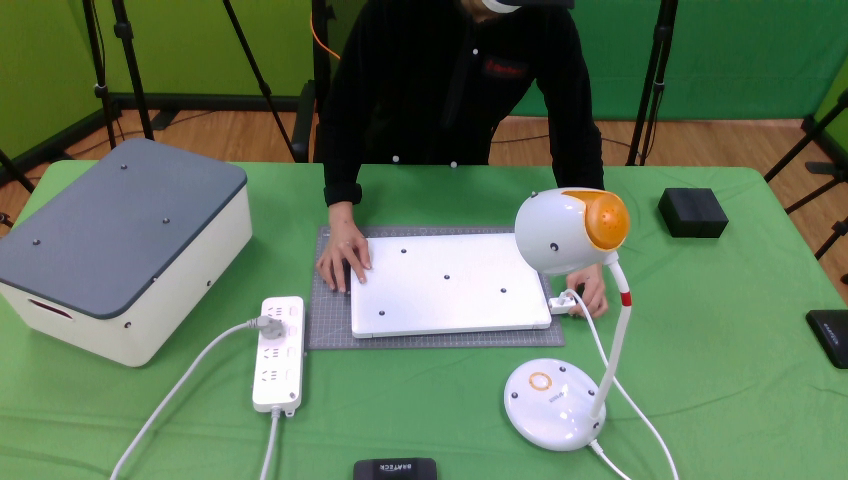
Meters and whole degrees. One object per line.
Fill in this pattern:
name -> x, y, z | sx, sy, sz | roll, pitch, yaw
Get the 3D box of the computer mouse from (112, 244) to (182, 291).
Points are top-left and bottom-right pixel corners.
computer mouse -> -0.493, 0.046, 1.078 | 0.117, 0.041, 0.062 | 24, 41, 13

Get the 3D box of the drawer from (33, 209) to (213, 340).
drawer -> -0.509, 0.054, 1.046 | 0.194, 0.073, 0.211 | 15, 43, 11

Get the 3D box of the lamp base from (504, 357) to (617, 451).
lamp base -> 0.220, 0.211, 0.903 | 0.160, 0.181, 0.178 | -33, 59, -30

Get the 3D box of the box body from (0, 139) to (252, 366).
box body -> -0.496, 0.013, 1.048 | 0.254, 0.161, 0.362 | 17, 47, 12

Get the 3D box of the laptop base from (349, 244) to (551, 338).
laptop base -> 0.040, 0.081, 1.126 | 0.355, 0.023, 0.234 | -2, 43, -6

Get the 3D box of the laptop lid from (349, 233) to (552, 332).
laptop lid -> 0.040, 0.071, 1.119 | 0.357, 0.013, 0.240 | -1, 44, -5

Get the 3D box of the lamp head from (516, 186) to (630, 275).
lamp head -> 0.188, -0.013, 0.728 | 0.112, 0.112, 0.122 | -25, 9, -25

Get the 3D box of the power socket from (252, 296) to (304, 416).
power socket -> -0.238, 0.182, 0.997 | 0.072, 0.033, 0.225 | -3, 47, -5

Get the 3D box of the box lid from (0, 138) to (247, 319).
box lid -> -0.494, -0.037, 0.994 | 0.263, 0.015, 0.370 | 17, 46, 12

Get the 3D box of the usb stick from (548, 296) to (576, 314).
usb stick -> 0.241, 0.118, 1.087 | 0.059, 0.027, 0.021 | -5, 52, -6

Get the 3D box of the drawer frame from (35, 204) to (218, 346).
drawer frame -> -0.505, 0.054, 1.052 | 0.201, 0.083, 0.212 | 14, 52, 12

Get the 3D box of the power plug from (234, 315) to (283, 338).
power plug -> -0.269, 0.144, 1.000 | 0.072, 0.053, 0.035 | 4, 47, 3
